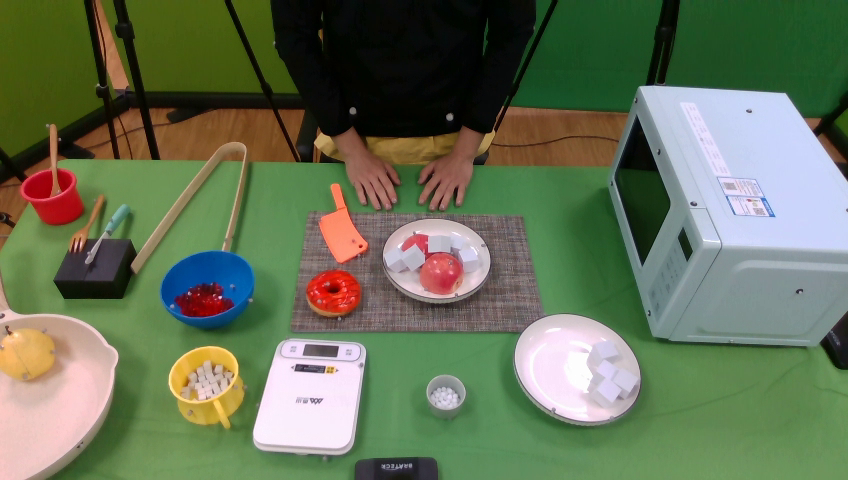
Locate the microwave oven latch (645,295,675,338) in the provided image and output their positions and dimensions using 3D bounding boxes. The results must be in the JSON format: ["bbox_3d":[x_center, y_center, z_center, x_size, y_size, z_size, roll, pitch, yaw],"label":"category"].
[{"bbox_3d":[0.412,0.134,1.061,0.030,0.029,0.078,3,45,0],"label":"microwave oven latch"}]

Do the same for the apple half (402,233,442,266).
[{"bbox_3d":[-0.004,0.013,1.160,0.081,0.033,0.081,5,45,-4],"label":"apple half"}]

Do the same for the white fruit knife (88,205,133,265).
[{"bbox_3d":[-0.584,-0.013,1.129,0.016,0.027,0.206,0,32,-5],"label":"white fruit knife"}]

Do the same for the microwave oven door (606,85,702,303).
[{"bbox_3d":[0.423,-0.094,1.140,0.039,0.245,0.353,2,46,-1],"label":"microwave oven door"}]

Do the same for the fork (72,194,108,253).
[{"bbox_3d":[-0.634,-0.036,1.158,0.028,0.019,0.206,-7,31,-8],"label":"fork"}]

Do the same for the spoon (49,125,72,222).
[{"bbox_3d":[-0.718,-0.131,1.189,0.041,0.021,0.193,-4,90,-6],"label":"spoon"}]

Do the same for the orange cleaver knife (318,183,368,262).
[{"bbox_3d":[-0.173,-0.037,1.218,0.077,0.012,0.210,-17,51,-12],"label":"orange cleaver knife"}]

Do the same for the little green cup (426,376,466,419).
[{"bbox_3d":[0.033,0.248,0.950,0.061,0.039,0.061,2,46,-2],"label":"little green cup"}]

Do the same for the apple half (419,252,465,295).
[{"bbox_3d":[0.035,0.056,1.109,0.074,0.053,0.081,37,55,25],"label":"apple half"}]

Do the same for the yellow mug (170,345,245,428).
[{"bbox_3d":[-0.322,0.230,0.922,0.100,0.064,0.130,-24,53,-25],"label":"yellow mug"}]

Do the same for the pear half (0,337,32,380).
[{"bbox_3d":[-0.631,0.184,0.921,0.070,0.088,0.031,29,49,19],"label":"pear half"}]

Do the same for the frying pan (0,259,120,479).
[{"bbox_3d":[-0.647,0.164,0.936,0.307,0.103,0.485,-19,58,-22],"label":"frying pan"}]

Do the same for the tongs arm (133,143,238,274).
[{"bbox_3d":[-0.480,-0.078,1.236,0.028,0.028,0.385,6,45,13],"label":"tongs arm"}]

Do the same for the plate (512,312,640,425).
[{"bbox_3d":[0.246,0.213,0.999,0.208,0.039,0.206,2,46,-2],"label":"plate"}]

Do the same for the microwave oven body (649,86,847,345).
[{"bbox_3d":[0.567,-0.053,1.118,0.326,0.261,0.439,2,45,-1],"label":"microwave oven body"}]

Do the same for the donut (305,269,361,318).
[{"bbox_3d":[-0.160,0.094,1.075,0.099,0.048,0.098,4,45,-3],"label":"donut"}]

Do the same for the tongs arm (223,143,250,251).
[{"bbox_3d":[-0.396,-0.073,1.232,0.051,0.027,0.382,-2,45,1],"label":"tongs arm"}]

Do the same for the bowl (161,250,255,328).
[{"bbox_3d":[-0.362,0.098,1.040,0.151,0.077,0.150,2,45,-2],"label":"bowl"}]

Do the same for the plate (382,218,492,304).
[{"bbox_3d":[0.023,0.042,1.143,0.209,0.038,0.208,2,46,-2],"label":"plate"}]

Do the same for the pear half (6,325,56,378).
[{"bbox_3d":[-0.608,0.158,0.935,0.076,0.110,0.056,31,51,20],"label":"pear half"}]

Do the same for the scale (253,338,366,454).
[{"bbox_3d":[-0.175,0.236,0.951,0.149,0.032,0.199,4,45,-1],"label":"scale"}]
